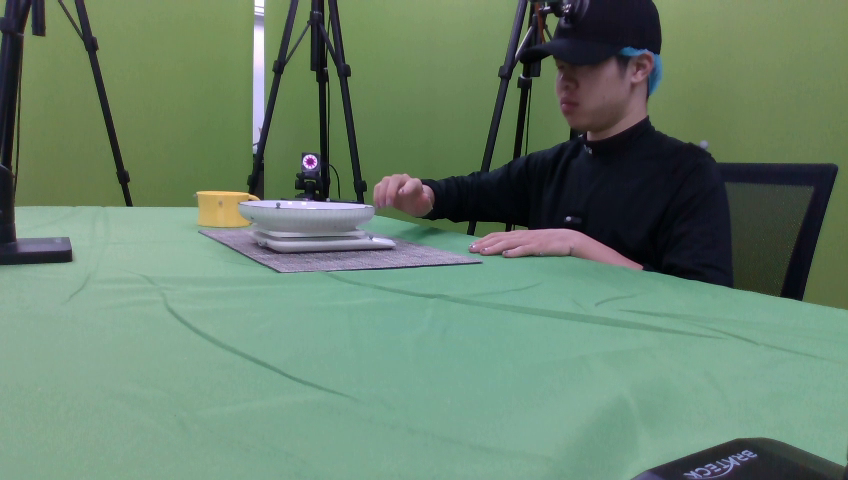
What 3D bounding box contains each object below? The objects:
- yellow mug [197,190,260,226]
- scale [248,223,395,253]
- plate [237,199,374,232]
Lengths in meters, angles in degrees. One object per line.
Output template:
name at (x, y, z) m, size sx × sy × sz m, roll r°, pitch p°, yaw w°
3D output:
yellow mug at (-0.389, -0.065, 1.223) m, size 0.131 × 0.064 × 0.099 m, roll -1°, pitch 8°, yaw -34°
scale at (-0.162, -0.006, 0.954) m, size 0.202 × 0.031 × 0.148 m, roll -2°, pitch 9°, yaw -32°
plate at (-0.183, -0.039, 0.941) m, size 0.209 × 0.038 × 0.209 m, roll 3°, pitch 7°, yaw 0°
